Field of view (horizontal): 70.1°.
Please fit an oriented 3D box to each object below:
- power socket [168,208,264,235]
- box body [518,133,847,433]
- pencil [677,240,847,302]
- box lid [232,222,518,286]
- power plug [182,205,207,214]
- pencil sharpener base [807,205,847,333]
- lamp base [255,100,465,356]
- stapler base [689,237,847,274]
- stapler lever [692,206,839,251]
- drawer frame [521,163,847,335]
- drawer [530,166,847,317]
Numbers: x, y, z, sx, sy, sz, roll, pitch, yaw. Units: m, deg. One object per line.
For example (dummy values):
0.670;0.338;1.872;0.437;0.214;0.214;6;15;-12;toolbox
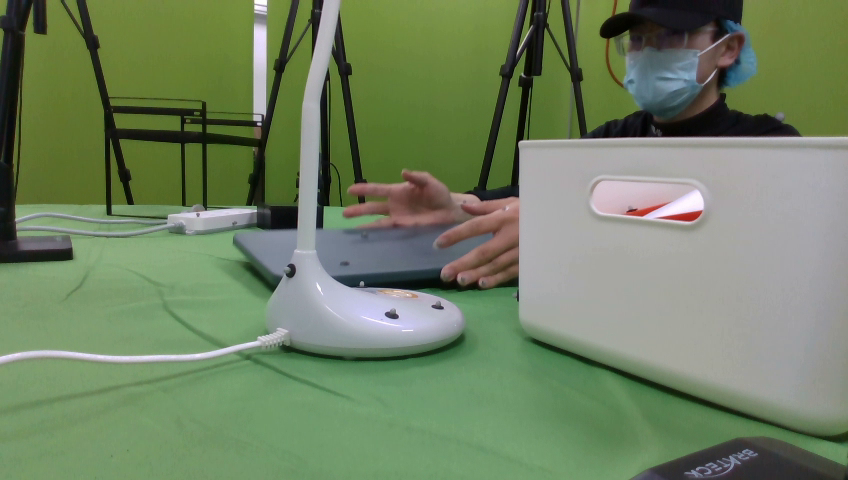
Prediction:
-0.381;-0.038;1.129;0.072;0.032;0.227;4;8;17;power socket
0.278;0.005;0.486;0.366;0.160;0.253;-3;9;-36;box body
0.248;0.017;0.464;0.012;0.012;0.193;1;10;-9;pencil
-0.033;0.011;0.768;0.373;0.015;0.262;-4;13;-28;box lid
-0.456;-0.041;1.195;0.052;0.035;0.072;0;39;24;power plug
0.385;0.027;0.519;0.062;0.107;0.076;-5;11;-43;pencil sharpener base
-0.051;-0.014;0.466;0.160;0.180;0.180;7;11;33;lamp base
0.270;0.012;0.487;0.041;0.024;0.130;-15;3;-19;stapler base
0.266;-0.011;0.486;0.027;0.040;0.117;-15;2;-19;stapler lever
0.224;0.003;0.465;0.215;0.082;0.200;-14;2;-36;drawer frame
0.225;0.002;0.468;0.213;0.073;0.193;-13;2;-36;drawer
